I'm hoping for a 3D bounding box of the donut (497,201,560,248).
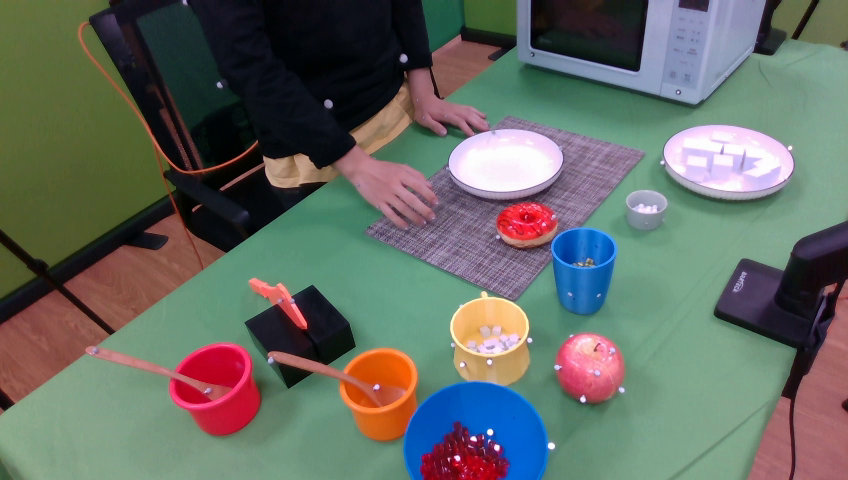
[{"bbox_3d":[0.165,-0.026,0.958,0.099,0.048,0.098,-5,38,5],"label":"donut"}]

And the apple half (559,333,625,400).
[{"bbox_3d":[0.209,0.147,0.730,0.080,0.075,0.053,26,48,38],"label":"apple half"}]

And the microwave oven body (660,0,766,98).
[{"bbox_3d":[0.472,-0.513,1.317,0.438,0.261,0.327,26,51,34],"label":"microwave oven body"}]

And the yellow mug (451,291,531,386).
[{"bbox_3d":[0.085,0.120,0.786,0.100,0.064,0.130,-7,39,1],"label":"yellow mug"}]

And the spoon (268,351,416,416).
[{"bbox_3d":[-0.090,0.162,0.699,0.021,0.195,0.041,-44,31,27],"label":"spoon"}]

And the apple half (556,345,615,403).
[{"bbox_3d":[0.181,0.167,0.709,0.080,0.081,0.033,29,49,35],"label":"apple half"}]

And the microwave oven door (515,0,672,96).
[{"bbox_3d":[0.343,-0.455,1.259,0.353,0.245,0.039,26,51,33],"label":"microwave oven door"}]

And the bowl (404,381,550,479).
[{"bbox_3d":[0.058,0.235,0.645,0.151,0.077,0.150,-4,39,4],"label":"bowl"}]

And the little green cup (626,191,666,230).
[{"bbox_3d":[0.352,-0.046,0.963,0.061,0.039,0.061,-4,40,4],"label":"little green cup"}]

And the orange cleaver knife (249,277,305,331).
[{"bbox_3d":[-0.210,0.088,0.855,0.012,0.077,0.210,-28,15,-25],"label":"orange cleaver knife"}]

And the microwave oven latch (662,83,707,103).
[{"bbox_3d":[0.517,-0.296,1.204,0.078,0.029,0.030,27,52,35],"label":"microwave oven latch"}]

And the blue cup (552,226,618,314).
[{"bbox_3d":[0.218,0.047,0.826,0.092,0.101,0.092,-6,40,5],"label":"blue cup"}]

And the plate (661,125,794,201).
[{"bbox_3d":[0.514,-0.128,1.035,0.207,0.039,0.206,-4,40,4],"label":"plate"}]

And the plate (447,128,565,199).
[{"bbox_3d":[0.148,-0.134,1.092,0.209,0.038,0.208,-4,40,4],"label":"plate"}]

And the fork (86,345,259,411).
[{"bbox_3d":[-0.298,0.166,0.728,0.209,0.018,0.028,28,47,-23],"label":"fork"}]
